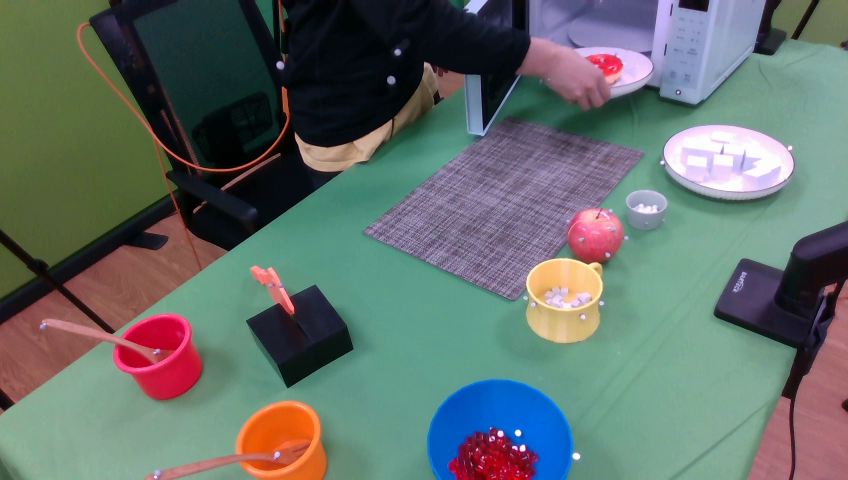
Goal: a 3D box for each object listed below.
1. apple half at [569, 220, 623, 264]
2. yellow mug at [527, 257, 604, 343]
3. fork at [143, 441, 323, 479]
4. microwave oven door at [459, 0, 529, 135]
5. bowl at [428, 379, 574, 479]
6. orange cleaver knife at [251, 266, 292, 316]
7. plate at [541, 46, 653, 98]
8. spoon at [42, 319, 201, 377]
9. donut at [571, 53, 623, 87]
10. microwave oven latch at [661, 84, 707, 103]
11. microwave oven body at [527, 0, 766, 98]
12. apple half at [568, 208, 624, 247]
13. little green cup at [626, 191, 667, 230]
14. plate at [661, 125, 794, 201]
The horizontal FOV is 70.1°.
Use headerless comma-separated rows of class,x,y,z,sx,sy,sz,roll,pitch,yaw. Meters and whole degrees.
apple half,0.251,0.010,0.884,0.081,0.081,0.032,3,37,12
yellow mug,0.201,0.072,0.825,0.131,0.064,0.099,-32,46,-27
fork,-0.190,0.231,0.631,0.028,0.018,0.209,37,13,37
microwave oven door,0.153,-0.410,1.237,0.039,0.245,0.356,11,44,20
bowl,0.082,0.233,0.644,0.151,0.077,0.150,-4,39,4
orange cleaver knife,-0.221,0.071,0.873,0.012,0.077,0.210,-25,11,-21
plate,0.333,-0.321,1.170,0.209,0.038,0.208,-5,36,4
spoon,-0.385,0.135,0.779,0.195,0.021,0.041,28,37,-26
donut,0.331,-0.328,1.160,0.099,0.048,0.098,-7,34,5
microwave oven latch,0.517,-0.296,1.203,0.078,0.029,0.030,25,51,34
microwave oven body,0.472,-0.513,1.317,0.438,0.261,0.327,25,51,34
apple half,0.259,-0.014,0.914,0.080,0.075,0.053,0,36,15
little green cup,0.352,-0.046,0.963,0.061,0.039,0.061,-4,40,4
plate,0.514,-0.128,1.035,0.207,0.039,0.206,-4,40,4
